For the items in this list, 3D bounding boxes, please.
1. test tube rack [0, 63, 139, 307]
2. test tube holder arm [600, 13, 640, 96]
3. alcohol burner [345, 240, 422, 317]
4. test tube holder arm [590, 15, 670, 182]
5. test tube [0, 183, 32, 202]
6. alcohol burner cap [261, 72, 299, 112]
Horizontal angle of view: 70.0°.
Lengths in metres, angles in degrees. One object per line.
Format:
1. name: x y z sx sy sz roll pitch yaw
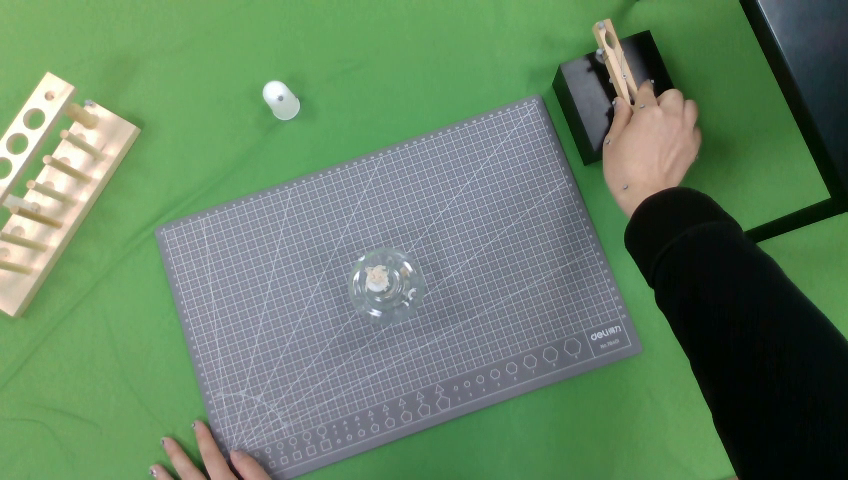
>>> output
1. test tube rack: -0.410 -0.052 0.631 0.066 0.085 0.242 30 84 6
2. test tube holder arm: 0.194 -0.185 0.607 0.010 0.015 0.087 -22 89 -4
3. alcohol burner: -0.042 0.036 0.592 0.078 0.119 0.077 -1 80 4
4. test tube holder arm: 0.206 -0.141 0.606 0.013 0.015 0.178 -22 89 -4
5. test tube: -0.431 -0.060 0.583 0.017 0.151 0.017 0 77 2
6. alcohol burner cap: -0.159 -0.164 0.659 0.034 0.048 0.033 -1 79 6
